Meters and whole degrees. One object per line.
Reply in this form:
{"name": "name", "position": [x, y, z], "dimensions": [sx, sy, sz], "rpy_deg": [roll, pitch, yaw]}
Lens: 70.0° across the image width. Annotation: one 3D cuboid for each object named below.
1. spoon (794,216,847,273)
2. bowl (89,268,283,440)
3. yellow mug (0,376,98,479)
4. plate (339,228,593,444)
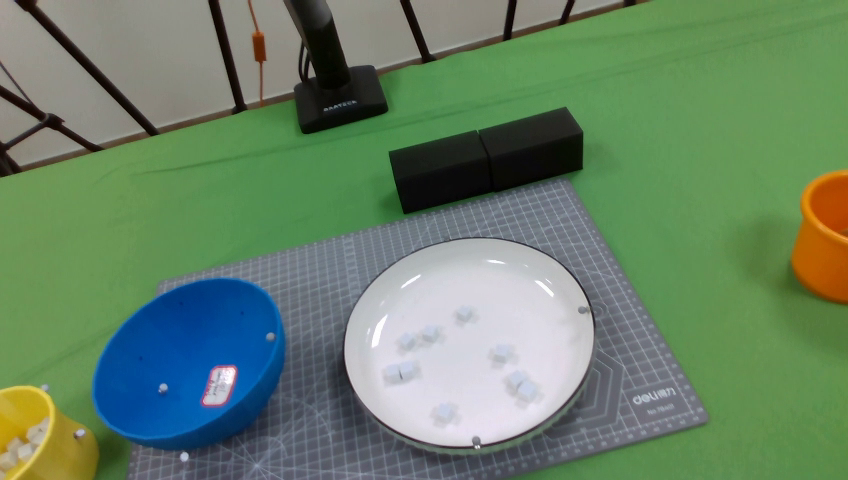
{"name": "spoon", "position": [0.375, -0.040, 0.463], "dimensions": [0.022, 0.194, 0.041], "rpy_deg": [17, 39, -34]}
{"name": "bowl", "position": [-0.180, 0.104, 0.499], "dimensions": [0.151, 0.077, 0.150], "rpy_deg": [-7, 46, 7]}
{"name": "yellow mug", "position": [-0.331, 0.179, 0.473], "dimensions": [0.099, 0.064, 0.130], "rpy_deg": [3, 49, 15]}
{"name": "plate", "position": [0.034, 0.075, 0.504], "dimensions": [0.209, 0.038, 0.207], "rpy_deg": [-6, 46, 7]}
